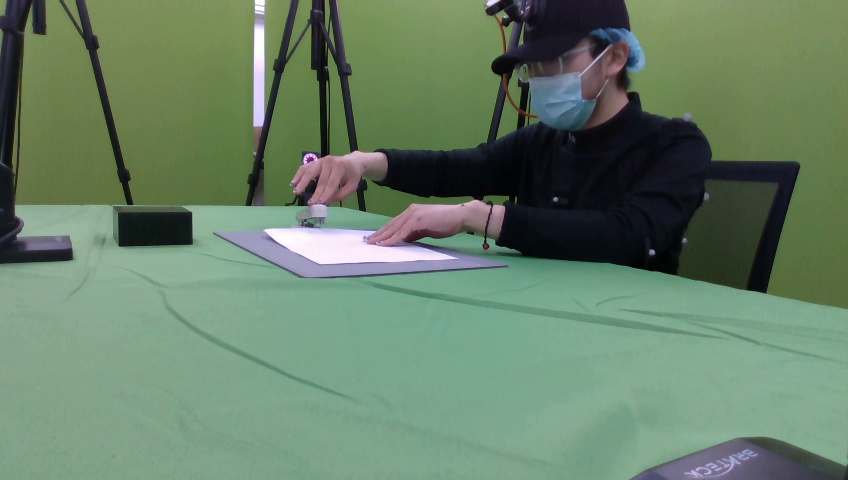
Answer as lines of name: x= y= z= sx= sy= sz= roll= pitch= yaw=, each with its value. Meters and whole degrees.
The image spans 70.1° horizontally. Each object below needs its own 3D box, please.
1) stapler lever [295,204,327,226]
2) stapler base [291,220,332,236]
stapler lever: x=-0.208 y=-0.049 z=1.109 sx=0.027 sy=0.040 sz=0.117 roll=0 pitch=7 yaw=-29
stapler base: x=-0.207 y=-0.025 z=1.111 sx=0.041 sy=0.024 sz=0.130 roll=0 pitch=5 yaw=-29
